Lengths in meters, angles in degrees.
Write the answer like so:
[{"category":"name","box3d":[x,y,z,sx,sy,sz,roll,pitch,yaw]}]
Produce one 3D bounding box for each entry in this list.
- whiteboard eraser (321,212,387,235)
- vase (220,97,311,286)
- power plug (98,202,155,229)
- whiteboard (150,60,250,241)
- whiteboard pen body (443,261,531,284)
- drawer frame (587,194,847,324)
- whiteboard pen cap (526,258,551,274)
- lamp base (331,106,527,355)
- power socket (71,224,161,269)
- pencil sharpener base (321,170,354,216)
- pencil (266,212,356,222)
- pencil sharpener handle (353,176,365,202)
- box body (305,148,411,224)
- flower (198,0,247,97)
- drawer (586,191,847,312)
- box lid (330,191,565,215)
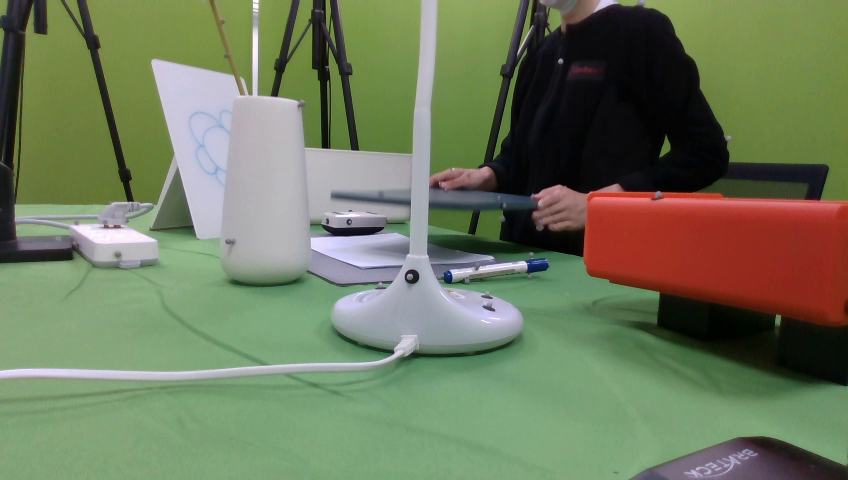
[{"category":"whiteboard eraser","box3d":[-0.128,-0.031,1.108,0.113,0.042,0.055,-3,7,-38]},{"category":"vase","box3d":[-0.172,-0.052,0.662,0.098,0.200,0.098,3,8,0]},{"category":"power plug","box3d":[-0.416,-0.027,0.848,0.073,0.052,0.035,0,8,-28]},{"category":"whiteboard","box3d":[-0.408,-0.139,1.093,0.143,0.305,0.218,-15,-1,26]},{"category":"whiteboard pen body","box3d":[0.087,0.037,0.734,0.141,0.017,0.017,-6,10,-27]},{"category":"drawer frame","box3d":[0.286,0.004,0.508,0.203,0.082,0.212,-1,6,-30]},{"category":"whiteboard pen cap","box3d":[0.141,0.033,0.758,0.033,0.018,0.018,-7,11,-26]},{"category":"lamp base","box3d":[0.006,-0.012,0.478,0.161,0.180,0.179,2,10,2]},{"category":"power socket","box3d":[-0.408,0.004,0.793,0.072,0.032,0.225,-2,8,-38]},{"category":"pencil sharpener base","box3d":[-0.206,-0.112,1.436,0.077,0.107,0.061,1,6,-10]},{"category":"pencil","box3d":[-0.245,-0.049,1.319,0.195,0.012,0.012,3,7,-13]},{"category":"pencil sharpener handle","box3d":[-0.155,-0.124,1.447,0.031,0.068,0.036,1,18,-10]},{"category":"box body","box3d":[-0.230,-0.126,1.371,0.366,0.160,0.253,-2,8,-33]},{"category":"flower","box3d":[-0.187,-0.133,0.648,0.038,0.362,0.044,0,22,43]},{"category":"drawer","box3d":[0.281,0.001,0.513,0.195,0.073,0.210,-1,8,-29]},{"category":"box lid","box3d":[0.052,-0.064,0.995,0.262,0.015,0.373,6,9,32]}]
